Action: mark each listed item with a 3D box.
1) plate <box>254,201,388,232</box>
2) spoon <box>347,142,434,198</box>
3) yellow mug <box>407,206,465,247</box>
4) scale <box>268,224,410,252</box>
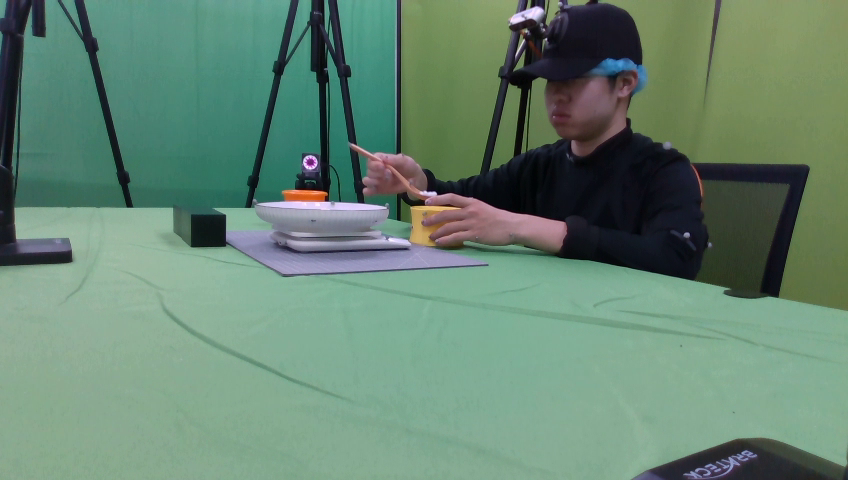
[{"bbox_3d":[-0.161,-0.038,0.961,0.209,0.038,0.209,2,6,0],"label":"plate"},{"bbox_3d":[-0.063,-0.127,1.086,0.193,0.021,0.042,38,15,15],"label":"spoon"},{"bbox_3d":[0.027,-0.027,1.104,0.099,0.064,0.131,7,7,19],"label":"yellow mug"},{"bbox_3d":[-0.137,-0.006,0.980,0.202,0.031,0.148,-1,8,-30],"label":"scale"}]
